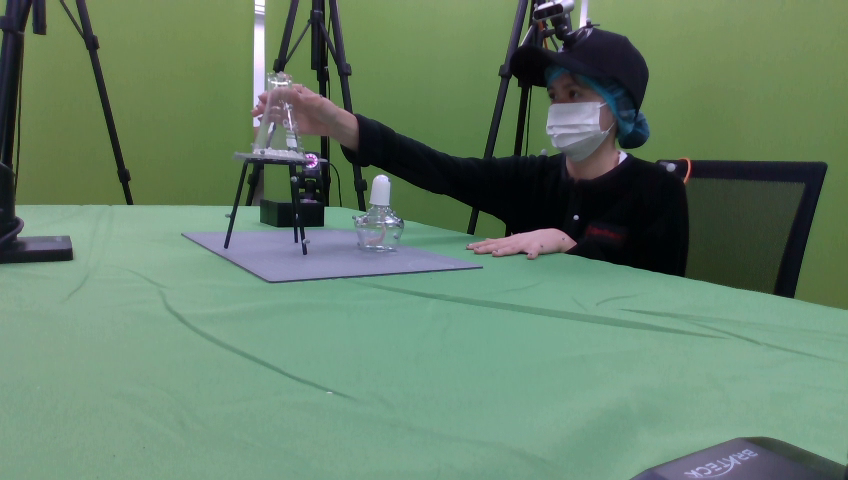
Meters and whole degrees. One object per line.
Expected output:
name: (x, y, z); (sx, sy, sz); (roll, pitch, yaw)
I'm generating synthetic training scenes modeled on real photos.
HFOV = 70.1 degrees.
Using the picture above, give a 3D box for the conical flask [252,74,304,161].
conical flask: (-0.211, -0.177, 0.879); (0.075, 0.122, 0.075); (2, 7, 0)

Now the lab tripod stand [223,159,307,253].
lab tripod stand: (-0.220, -0.053, 0.896); (0.148, 0.131, 0.148); (1, 6, 0)

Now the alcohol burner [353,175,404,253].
alcohol burner: (-0.069, -0.040, 0.926); (0.078, 0.119, 0.078); (1, 9, 0)

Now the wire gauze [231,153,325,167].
wire gauze: (-0.215, -0.117, 0.882); (0.125, 0.011, 0.121); (2, 7, -19)

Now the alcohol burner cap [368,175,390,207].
alcohol burner cap: (-0.067, -0.075, 0.923); (0.034, 0.048, 0.034); (8, 11, -1)
